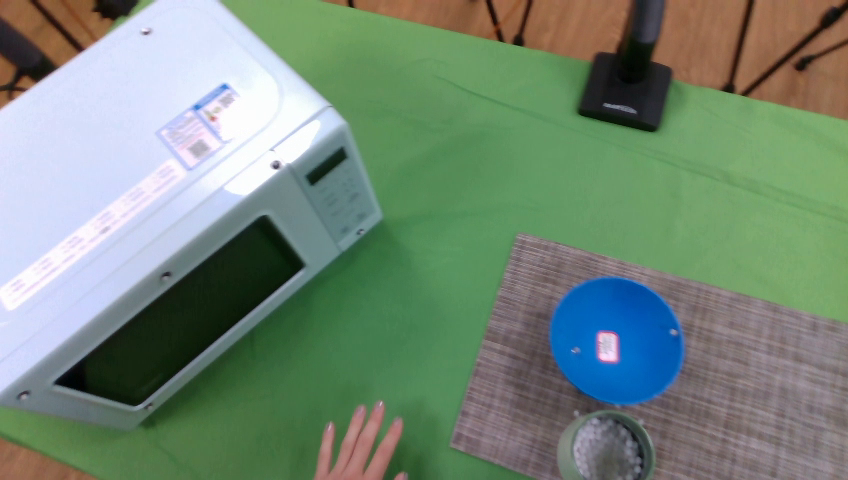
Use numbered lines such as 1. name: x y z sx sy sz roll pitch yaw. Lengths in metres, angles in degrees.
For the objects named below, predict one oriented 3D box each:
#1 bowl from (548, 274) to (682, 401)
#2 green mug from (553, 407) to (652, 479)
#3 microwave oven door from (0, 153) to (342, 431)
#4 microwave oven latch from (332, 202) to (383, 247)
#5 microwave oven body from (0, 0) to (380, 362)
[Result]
1. bowl: 0.223 0.124 0.733 0.151 0.077 0.150 -2 67 5
2. green mug: 0.195 0.229 0.619 0.124 0.106 0.092 41 78 20
3. microwave oven door: -0.267 0.072 0.698 0.355 0.246 0.039 -41 69 -11
4. microwave oven latch: -0.092 -0.027 0.834 0.079 0.030 0.030 -39 70 -10
5. microwave oven body: -0.332 -0.049 0.761 0.441 0.262 0.323 -41 70 -11
